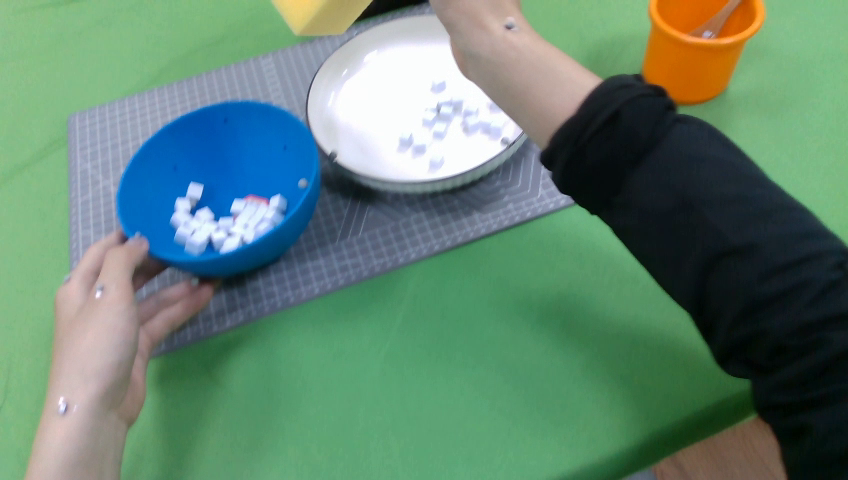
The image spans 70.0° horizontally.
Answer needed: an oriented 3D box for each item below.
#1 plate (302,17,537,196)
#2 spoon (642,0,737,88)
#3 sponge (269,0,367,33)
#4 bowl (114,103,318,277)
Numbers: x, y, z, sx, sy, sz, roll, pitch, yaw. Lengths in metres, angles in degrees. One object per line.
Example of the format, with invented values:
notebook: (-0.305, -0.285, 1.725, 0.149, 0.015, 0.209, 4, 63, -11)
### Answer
plate: (-0.004, -0.120, 0.545, 0.209, 0.038, 0.207, -3, 57, 5)
spoon: (0.262, -0.204, 0.505, 0.022, 0.194, 0.041, 5, 47, -46)
sponge: (-0.044, -0.252, 0.398, 0.118, 0.207, 0.061, 53, 31, 0)
bowl: (-0.150, -0.026, 0.478, 0.151, 0.077, 0.150, -3, 57, 6)
